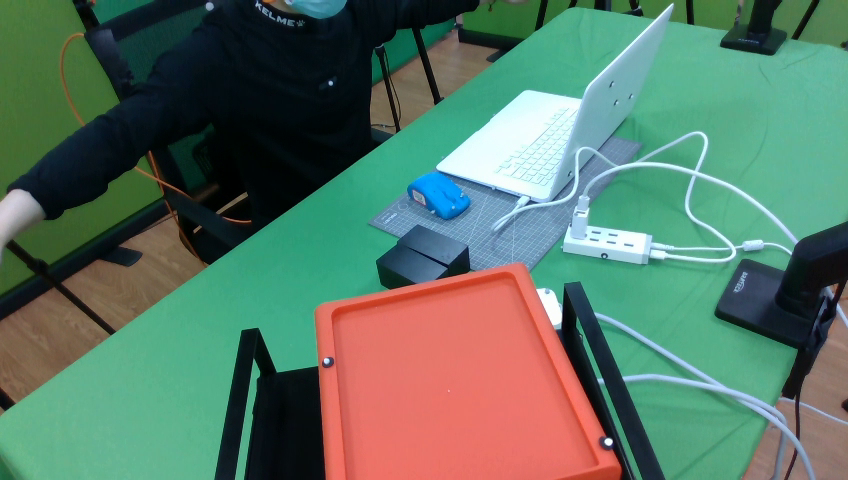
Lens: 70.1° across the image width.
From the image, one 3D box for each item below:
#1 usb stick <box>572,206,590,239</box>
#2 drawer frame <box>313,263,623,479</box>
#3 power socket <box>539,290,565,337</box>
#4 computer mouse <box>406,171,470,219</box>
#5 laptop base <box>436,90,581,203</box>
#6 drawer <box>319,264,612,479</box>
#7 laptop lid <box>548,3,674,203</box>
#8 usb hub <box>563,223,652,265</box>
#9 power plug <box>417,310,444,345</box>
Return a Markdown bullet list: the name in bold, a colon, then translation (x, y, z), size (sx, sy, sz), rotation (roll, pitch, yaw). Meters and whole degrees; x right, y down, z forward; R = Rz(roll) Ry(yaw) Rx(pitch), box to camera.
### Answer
- **usb stick**: translation (0.237, -0.021, 0.916), size (0.021, 0.059, 0.027), rotation (9, 41, 17)
- **drawer frame**: translation (0.021, 0.130, 0.493), size (0.202, 0.083, 0.212), rotation (-11, 41, -6)
- **power socket**: translation (0.081, 0.112, 0.822), size (0.227, 0.033, 0.072), rotation (-6, 41, 0)
- **computer mouse**: translation (0.024, -0.082, 1.049), size (0.063, 0.041, 0.116), rotation (-30, 50, -27)
- **laptop base**: translation (0.215, -0.192, 1.172), size (0.233, 0.023, 0.355), rotation (19, 46, 32)
- **drawer**: translation (0.020, 0.129, 0.497), size (0.195, 0.073, 0.210), rotation (-11, 41, -5)
- **laptop lid**: translation (0.320, -0.235, 1.026), size (0.013, 0.242, 0.357), rotation (31, 50, 20)
- **usb hub**: translation (0.281, 0.005, 0.925), size (0.124, 0.025, 0.049), rotation (10, 43, 19)
- **power plug**: translation (0.007, 0.122, 0.785), size (0.035, 0.053, 0.072), rotation (0, 39, 7)
